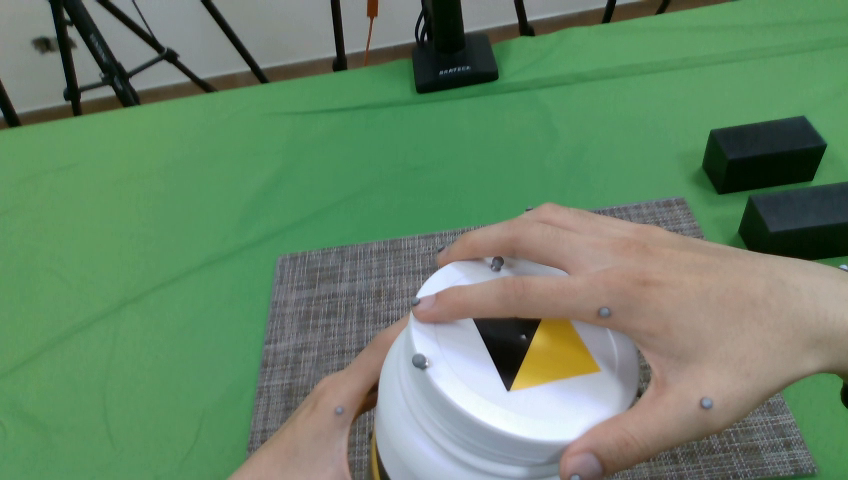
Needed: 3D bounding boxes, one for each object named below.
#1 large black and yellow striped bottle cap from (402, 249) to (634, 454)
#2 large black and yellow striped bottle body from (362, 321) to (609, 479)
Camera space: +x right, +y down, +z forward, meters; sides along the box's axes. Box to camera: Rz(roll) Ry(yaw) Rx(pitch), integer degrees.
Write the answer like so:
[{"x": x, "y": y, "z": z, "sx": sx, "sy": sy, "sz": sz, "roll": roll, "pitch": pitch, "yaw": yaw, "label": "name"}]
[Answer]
[{"x": 0.047, "y": 0.049, "z": 0.300, "sx": 0.115, "sy": 0.019, "sz": 0.114, "roll": 8, "pitch": 43, "yaw": -7, "label": "large black and yellow striped bottle cap"}, {"x": 0.032, "y": 0.114, "z": 0.368, "sx": 0.131, "sy": 0.185, "sz": 0.129, "roll": 6, "pitch": 45, "yaw": -5, "label": "large black and yellow striped bottle body"}]
